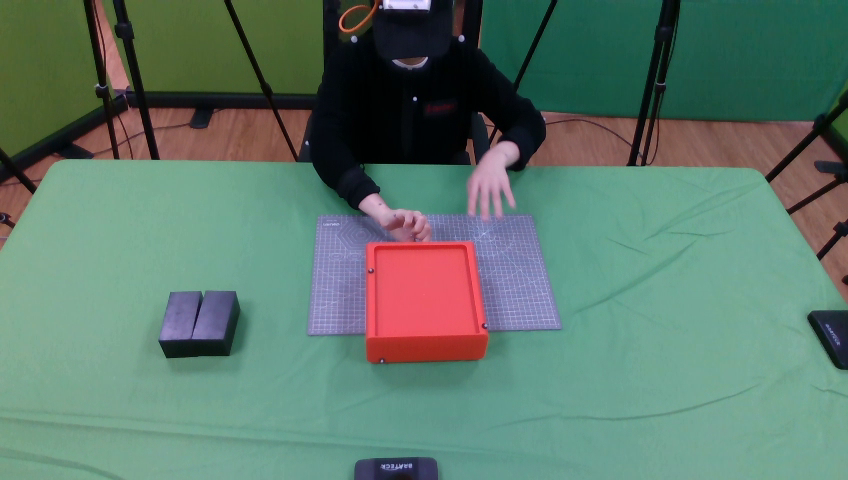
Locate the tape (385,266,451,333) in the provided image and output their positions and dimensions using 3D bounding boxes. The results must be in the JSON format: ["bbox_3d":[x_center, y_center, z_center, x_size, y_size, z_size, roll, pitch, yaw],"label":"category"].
[{"bbox_3d":[-0.010,0.103,1.063,0.117,0.053,0.116,2,47,-2],"label":"tape"}]

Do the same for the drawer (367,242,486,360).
[{"bbox_3d":[-0.002,0.101,1.057,0.195,0.073,0.210,0,48,-5],"label":"drawer"}]

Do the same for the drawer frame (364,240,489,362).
[{"bbox_3d":[-0.002,0.101,1.054,0.202,0.083,0.212,-1,47,-5],"label":"drawer frame"}]
